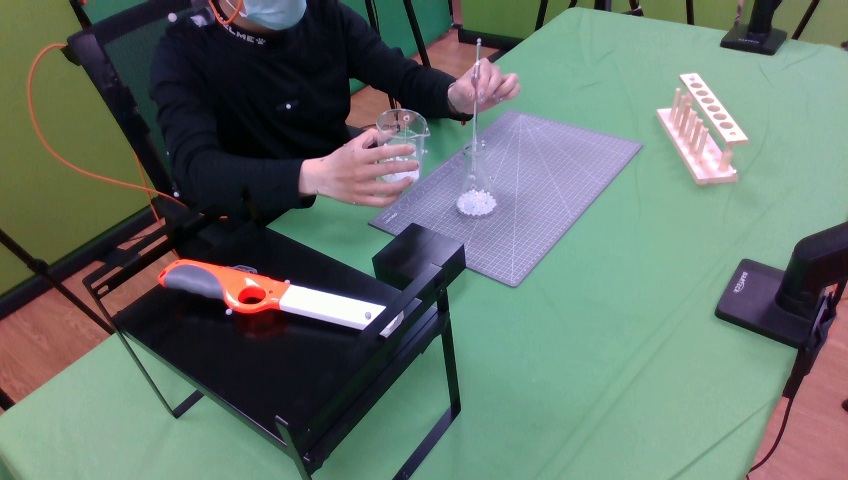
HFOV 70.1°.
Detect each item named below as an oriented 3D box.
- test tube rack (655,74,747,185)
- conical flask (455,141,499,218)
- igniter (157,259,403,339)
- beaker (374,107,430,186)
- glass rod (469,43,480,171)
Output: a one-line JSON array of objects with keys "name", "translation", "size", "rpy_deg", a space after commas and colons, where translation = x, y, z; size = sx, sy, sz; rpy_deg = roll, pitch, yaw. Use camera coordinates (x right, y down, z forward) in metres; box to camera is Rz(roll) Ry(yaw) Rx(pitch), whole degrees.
[{"name": "test tube rack", "translation": [0.491, -0.205, 1.092], "size": [0.067, 0.085, 0.241], "rpy_deg": [-5, 40, 3]}, {"name": "conical flask", "translation": [0.085, -0.103, 0.999], "size": [0.075, 0.122, 0.075], "rpy_deg": [-4, 40, 4]}, {"name": "igniter", "translation": [-0.157, 0.059, 0.638], "size": [0.275, 0.025, 0.057], "rpy_deg": [11, 43, 14]}, {"name": "beaker", "translation": [-0.035, -0.137, 0.915], "size": [0.084, 0.100, 0.074], "rpy_deg": [18, 47, 10]}, {"name": "glass rod", "translation": [0.080, -0.209, 0.961], "size": [0.008, 0.199, 0.008], "rpy_deg": [2, 10, 0]}]
